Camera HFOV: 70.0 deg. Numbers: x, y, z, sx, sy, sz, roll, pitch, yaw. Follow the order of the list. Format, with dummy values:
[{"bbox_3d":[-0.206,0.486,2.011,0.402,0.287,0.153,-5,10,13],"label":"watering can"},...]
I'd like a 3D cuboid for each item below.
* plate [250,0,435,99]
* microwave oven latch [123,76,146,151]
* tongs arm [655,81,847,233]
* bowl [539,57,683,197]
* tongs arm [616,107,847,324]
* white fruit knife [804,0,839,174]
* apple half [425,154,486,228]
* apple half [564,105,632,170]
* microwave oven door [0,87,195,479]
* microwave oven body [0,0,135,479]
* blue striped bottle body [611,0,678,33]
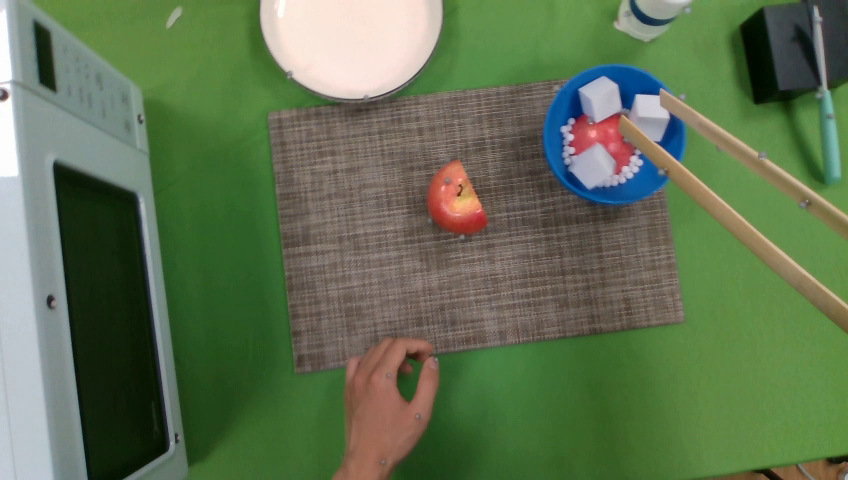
[{"bbox_3d":[-0.092,-0.261,0.700,0.208,0.039,0.207,0,86,-2],"label":"plate"},{"bbox_3d":[-0.329,-0.137,0.666,0.030,0.029,0.079,-9,87,-3],"label":"microwave oven latch"},{"bbox_3d":[0.310,-0.011,0.476,0.051,0.027,0.380,-37,57,-7],"label":"tongs arm"},{"bbox_3d":[0.196,-0.116,0.673,0.151,0.077,0.151,0,86,-1],"label":"bowl"},{"bbox_3d":[0.285,0.006,0.474,0.028,0.028,0.383,-33,57,-8],"label":"tongs arm"},{"bbox_3d":[0.445,-0.172,0.683,0.016,0.027,0.208,-13,104,15],"label":"white fruit knife"},{"bbox_3d":[0.029,-0.047,0.667,0.053,0.074,0.081,-28,90,3],"label":"apple half"},{"bbox_3d":[0.197,-0.116,0.668,0.081,0.033,0.081,0,84,-1],"label":"apple half"},{"bbox_3d":[-0.293,0.070,0.553,0.039,0.244,0.355,-10,86,-1],"label":"microwave oven door"},{"bbox_3d":[-0.445,0.053,0.554,0.326,0.260,0.441,-9,87,-3],"label":"microwave oven body"},{"bbox_3d":[0.255,-0.282,0.668,0.063,0.121,0.063,0,85,-1],"label":"blue striped bottle body"}]
